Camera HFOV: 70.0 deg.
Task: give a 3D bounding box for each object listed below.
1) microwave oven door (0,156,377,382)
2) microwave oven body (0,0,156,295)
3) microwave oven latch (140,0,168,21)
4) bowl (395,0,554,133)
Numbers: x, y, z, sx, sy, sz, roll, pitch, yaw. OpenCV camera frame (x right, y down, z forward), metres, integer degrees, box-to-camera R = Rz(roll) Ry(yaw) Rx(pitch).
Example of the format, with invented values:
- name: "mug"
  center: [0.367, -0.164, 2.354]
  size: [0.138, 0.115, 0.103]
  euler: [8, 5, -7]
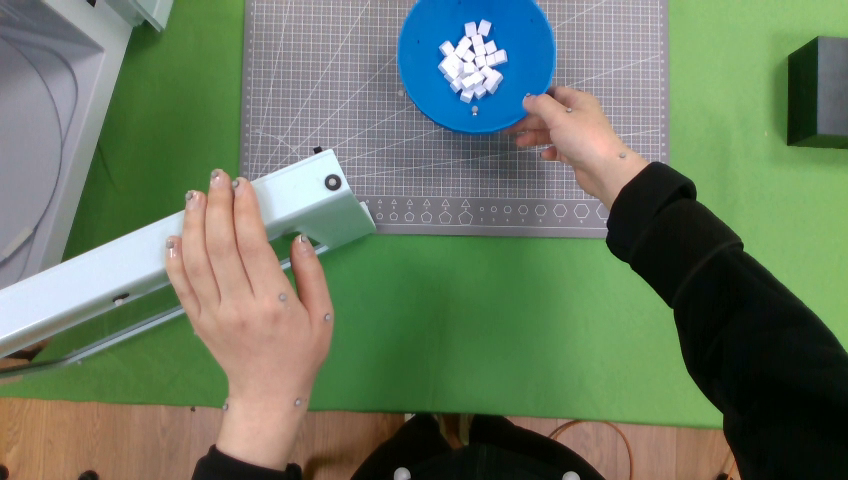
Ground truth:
- name: "microwave oven door"
  center: [-0.215, 0.034, 0.489]
  size: [0.356, 0.244, 0.039]
  euler: [-24, 85, -3]
- name: "microwave oven body"
  center: [-0.456, -0.141, 0.499]
  size: [0.326, 0.260, 0.441]
  euler: [15, 87, -1]
- name: "microwave oven latch"
  center: [-0.269, -0.265, 0.608]
  size: [0.030, 0.029, 0.079]
  euler: [16, 87, -1]
- name: "bowl"
  center: [0.048, -0.173, 0.604]
  size: [0.151, 0.077, 0.151]
  euler: [0, 86, 0]
